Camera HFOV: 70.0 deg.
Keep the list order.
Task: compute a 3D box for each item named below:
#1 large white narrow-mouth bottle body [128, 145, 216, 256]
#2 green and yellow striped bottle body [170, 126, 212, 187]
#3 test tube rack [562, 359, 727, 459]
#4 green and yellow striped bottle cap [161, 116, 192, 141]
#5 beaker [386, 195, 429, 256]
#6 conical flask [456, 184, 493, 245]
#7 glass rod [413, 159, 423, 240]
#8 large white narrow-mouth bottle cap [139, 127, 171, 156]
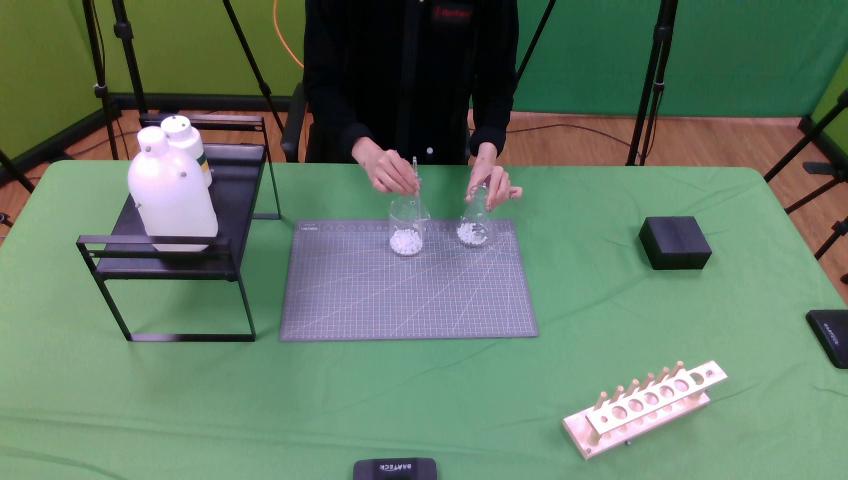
[{"bbox_3d":[-0.366,-0.073,0.872,0.102,0.195,0.101,3,47,-3],"label":"large white narrow-mouth bottle body"},{"bbox_3d":[-0.389,-0.139,0.984,0.063,0.120,0.063,2,46,-2],"label":"green and yellow striped bottle body"},{"bbox_3d":[0.341,0.247,0.940,0.243,0.085,0.066,-16,49,-18],"label":"test tube rack"},{"bbox_3d":[-0.387,-0.174,0.946,0.045,0.020,0.045,3,44,-3],"label":"green and yellow striped bottle cap"},{"bbox_3d":[-0.031,-0.024,1.161,0.084,0.101,0.073,18,48,12],"label":"beaker"},{"bbox_3d":[0.102,-0.052,1.176,0.075,0.122,0.075,1,47,-1],"label":"conical flask"},{"bbox_3d":[-0.010,-0.070,1.119,0.008,0.201,0.008,-2,46,3],"label":"glass rod"},{"bbox_3d":[-0.358,-0.132,0.807,0.038,0.024,0.037,3,47,-3],"label":"large white narrow-mouth bottle cap"}]
